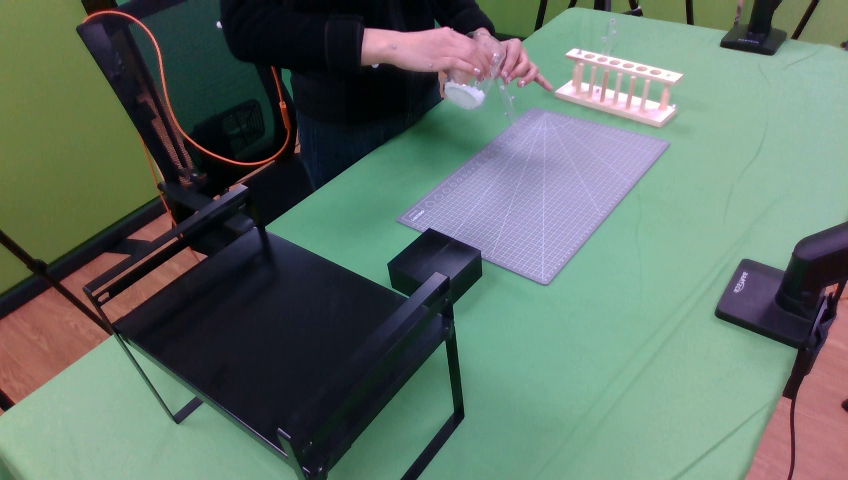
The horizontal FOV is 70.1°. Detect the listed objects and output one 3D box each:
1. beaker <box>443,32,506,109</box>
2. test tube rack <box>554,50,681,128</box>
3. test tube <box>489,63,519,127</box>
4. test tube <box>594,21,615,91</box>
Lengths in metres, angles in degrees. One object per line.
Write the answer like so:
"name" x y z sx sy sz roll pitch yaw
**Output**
"beaker" 0.080 -0.269 0.977 0.073 0.084 0.100 18 76 32
"test tube rack" 0.387 -0.311 1.234 0.240 0.085 0.067 28 52 35
"test tube" 0.145 -0.255 1.076 0.017 0.151 0.017 -13 53 18
"test tube" 0.367 -0.372 1.232 0.017 0.151 0.017 0 43 0
